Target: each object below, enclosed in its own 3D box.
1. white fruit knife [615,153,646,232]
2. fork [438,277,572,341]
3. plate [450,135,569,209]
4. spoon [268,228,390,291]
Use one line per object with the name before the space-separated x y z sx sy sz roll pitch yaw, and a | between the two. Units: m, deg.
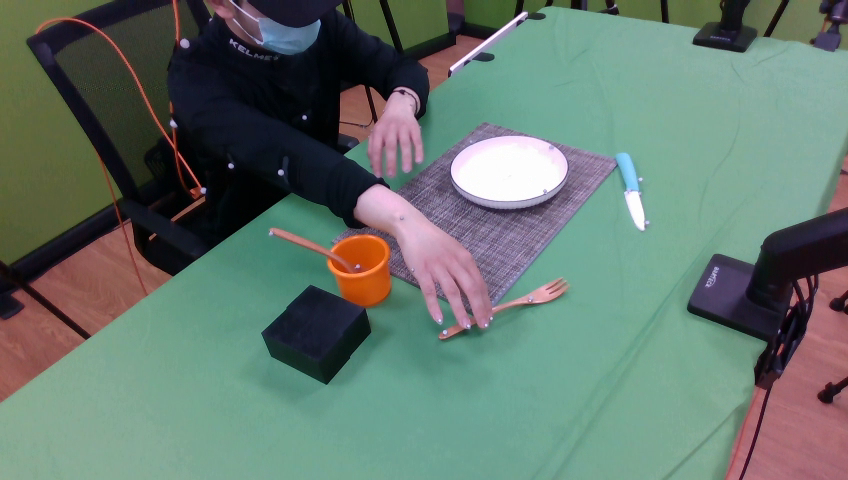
white fruit knife | 0.352 -0.084 1.023 0.027 0.016 0.206 -19 40 23
fork | 0.114 0.096 0.843 0.208 0.019 0.028 -19 46 -16
plate | 0.149 -0.117 1.066 0.209 0.038 0.208 -3 41 3
spoon | -0.132 0.025 0.861 0.195 0.021 0.041 31 32 -25
